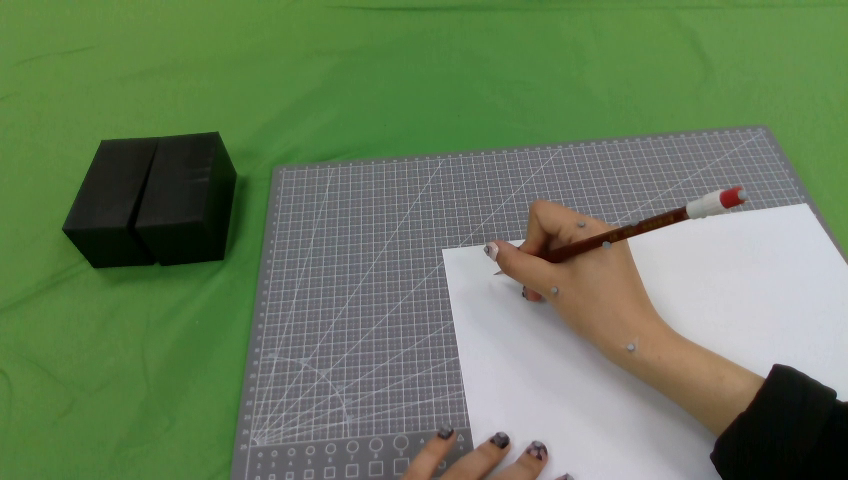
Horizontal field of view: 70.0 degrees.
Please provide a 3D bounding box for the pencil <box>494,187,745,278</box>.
[{"bbox_3d":[0.106,0.003,0.380,0.012,0.193,0.012,12,68,-32],"label":"pencil"}]
